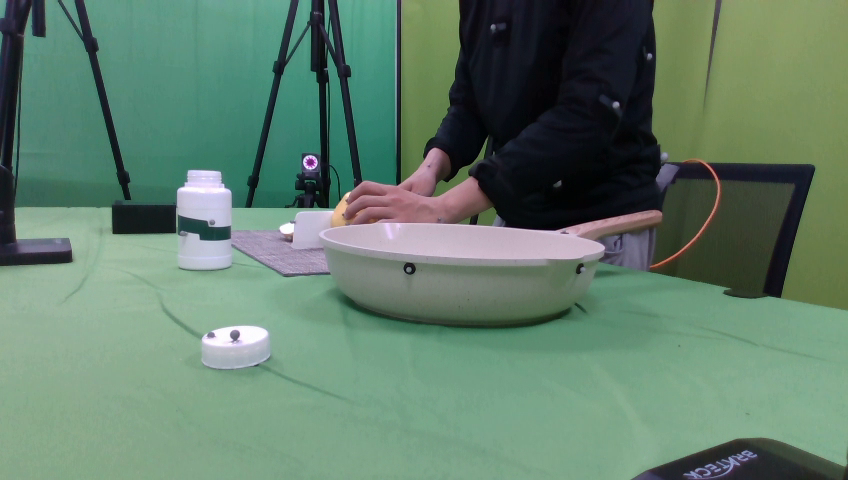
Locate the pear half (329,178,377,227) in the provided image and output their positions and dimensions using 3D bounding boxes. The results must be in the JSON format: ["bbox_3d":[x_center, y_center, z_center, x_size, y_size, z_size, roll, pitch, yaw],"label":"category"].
[{"bbox_3d":[-0.105,-0.042,0.945,0.077,0.110,0.055,-8,14,-43],"label":"pear half"}]

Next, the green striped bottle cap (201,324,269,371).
[{"bbox_3d":[-0.129,0.073,0.415,0.044,0.020,0.044,2,8,0],"label":"green striped bottle cap"}]

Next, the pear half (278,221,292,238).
[{"bbox_3d":[-0.206,-0.018,1.018,0.087,0.031,0.070,-9,17,36],"label":"pear half"}]

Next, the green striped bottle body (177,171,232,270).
[{"bbox_3d":[-0.273,-0.026,0.752,0.063,0.119,0.063,2,7,0],"label":"green striped bottle body"}]

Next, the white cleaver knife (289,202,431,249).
[{"bbox_3d":[-0.098,-0.027,0.999,0.288,0.066,0.021,-7,15,-42],"label":"white cleaver knife"}]

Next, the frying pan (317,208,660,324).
[{"bbox_3d":[0.120,0.006,0.691,0.490,0.102,0.305,-13,15,-33],"label":"frying pan"}]
